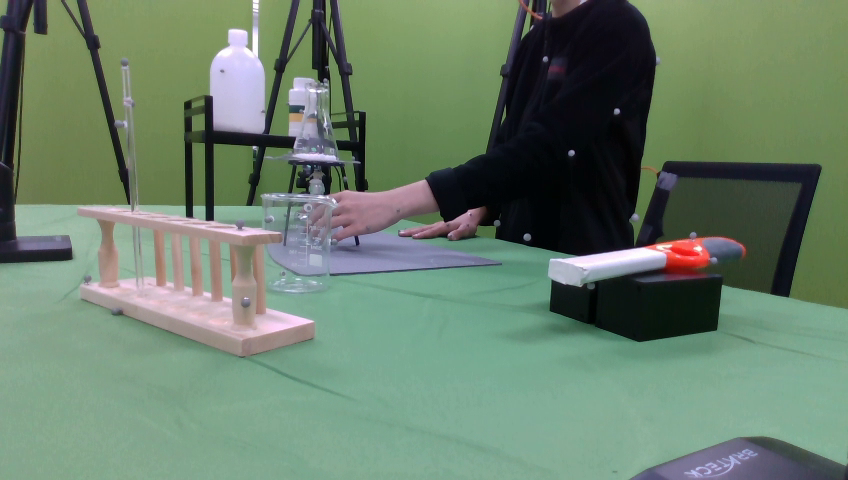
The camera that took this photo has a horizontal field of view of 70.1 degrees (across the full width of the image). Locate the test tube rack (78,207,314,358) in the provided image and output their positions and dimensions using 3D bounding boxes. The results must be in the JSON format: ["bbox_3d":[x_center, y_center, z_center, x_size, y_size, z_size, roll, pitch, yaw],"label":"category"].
[{"bbox_3d":[-0.197,0.023,0.500,0.241,0.085,0.067,8,8,37],"label":"test tube rack"}]

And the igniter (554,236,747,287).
[{"bbox_3d":[0.221,0.017,0.558,0.278,0.025,0.057,-5,15,-39],"label":"igniter"}]

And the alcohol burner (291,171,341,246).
[{"bbox_3d":[-0.171,-0.050,0.962,0.078,0.119,0.078,1,6,0],"label":"alcohol burner"}]

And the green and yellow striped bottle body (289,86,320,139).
[{"bbox_3d":[-0.250,-0.272,1.261,0.063,0.119,0.063,3,7,0],"label":"green and yellow striped bottle body"}]

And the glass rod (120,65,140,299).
[{"bbox_3d":[-0.249,-0.047,0.513,0.008,0.199,0.008,-1,4,0],"label":"glass rod"}]

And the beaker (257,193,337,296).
[{"bbox_3d":[-0.130,0.004,0.628,0.084,0.100,0.074,5,8,15],"label":"beaker"}]

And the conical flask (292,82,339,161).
[{"bbox_3d":[-0.171,-0.185,0.957,0.075,0.122,0.075,2,7,0],"label":"conical flask"}]

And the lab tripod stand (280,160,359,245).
[{"bbox_3d":[-0.176,-0.062,0.973,0.148,0.131,0.148,1,7,0],"label":"lab tripod stand"}]

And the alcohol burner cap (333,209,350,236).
[{"bbox_3d":[-0.151,-0.033,1.116,0.034,0.048,0.034,3,6,0],"label":"alcohol burner cap"}]

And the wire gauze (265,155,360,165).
[{"bbox_3d":[-0.181,-0.128,0.969,0.126,0.011,0.121,-3,7,-26],"label":"wire gauze"}]

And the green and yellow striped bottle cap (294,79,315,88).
[{"bbox_3d":[-0.248,-0.323,1.256,0.045,0.020,0.045,3,9,0],"label":"green and yellow striped bottle cap"}]

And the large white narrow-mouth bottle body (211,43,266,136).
[{"bbox_3d":[-0.361,-0.302,1.176,0.102,0.194,0.102,1,7,0],"label":"large white narrow-mouth bottle body"}]

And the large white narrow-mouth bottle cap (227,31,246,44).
[{"bbox_3d":[-0.361,-0.388,1.165,0.038,0.024,0.037,1,7,0],"label":"large white narrow-mouth bottle cap"}]
